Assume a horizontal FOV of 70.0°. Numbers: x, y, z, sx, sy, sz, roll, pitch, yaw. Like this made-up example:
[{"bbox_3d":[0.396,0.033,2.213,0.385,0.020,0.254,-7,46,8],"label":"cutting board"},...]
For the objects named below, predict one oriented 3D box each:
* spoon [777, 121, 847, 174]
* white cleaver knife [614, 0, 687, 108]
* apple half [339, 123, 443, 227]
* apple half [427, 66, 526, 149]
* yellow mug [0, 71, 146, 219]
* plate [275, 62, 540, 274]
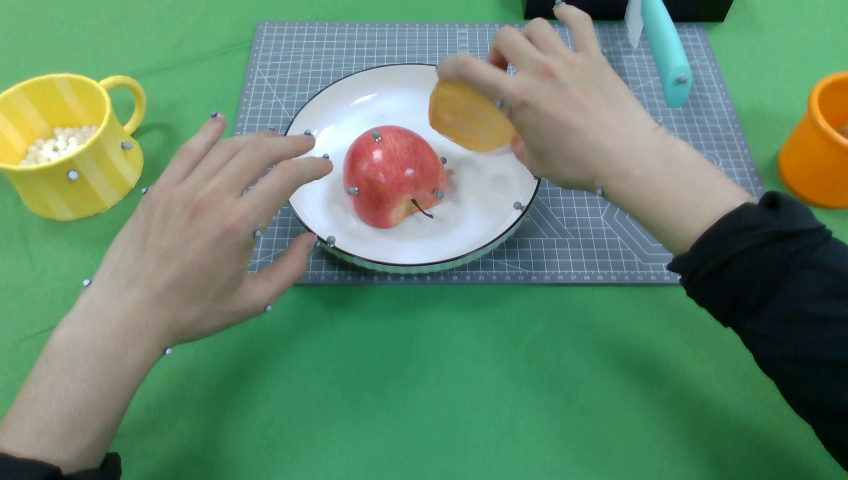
[{"bbox_3d":[0.373,-0.105,0.463,0.022,0.193,0.041,27,45,-37],"label":"spoon"},{"bbox_3d":[0.204,-0.225,0.581,0.021,0.066,0.283,-2,54,3],"label":"white cleaver knife"},{"bbox_3d":[-0.027,-0.058,0.470,0.081,0.054,0.074,-25,62,-14],"label":"apple half"},{"bbox_3d":[0.040,-0.108,0.475,0.081,0.082,0.032,12,62,7],"label":"apple half"},{"bbox_3d":[-0.279,-0.086,0.488,0.099,0.064,0.130,31,61,17],"label":"yellow mug"},{"bbox_3d":[-0.013,-0.060,0.490,0.209,0.038,0.207,1,58,-1],"label":"plate"}]
